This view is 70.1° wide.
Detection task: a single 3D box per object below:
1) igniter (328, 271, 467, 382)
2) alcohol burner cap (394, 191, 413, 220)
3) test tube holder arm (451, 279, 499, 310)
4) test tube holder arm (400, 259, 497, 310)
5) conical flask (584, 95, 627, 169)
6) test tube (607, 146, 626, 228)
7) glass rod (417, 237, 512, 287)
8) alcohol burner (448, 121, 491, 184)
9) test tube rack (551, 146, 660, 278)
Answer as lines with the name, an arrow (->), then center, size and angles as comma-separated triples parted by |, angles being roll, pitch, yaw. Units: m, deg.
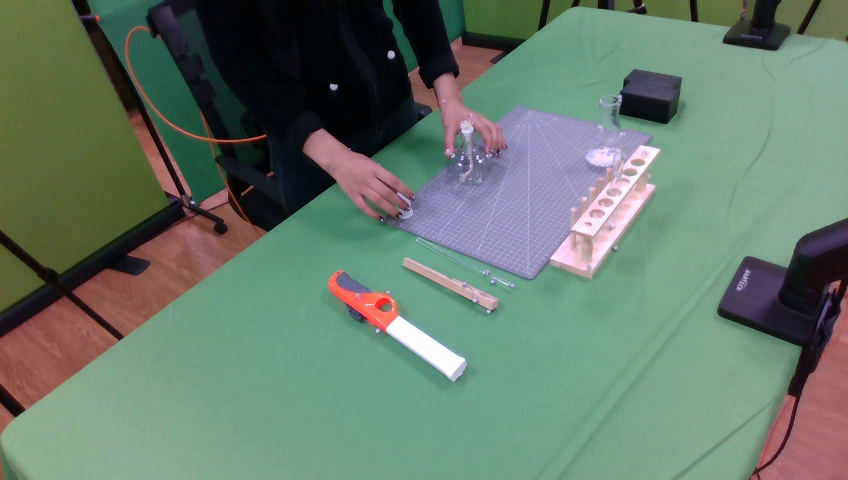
igniter -> -0.049, 0.114, 0.854 | 0.274, 0.025, 0.057 | 30, 63, 37
alcohol burner cap -> -0.037, -0.061, 1.044 | 0.034, 0.048, 0.033 | -4, 40, 4
test tube holder arm -> 0.071, 0.079, 0.882 | 0.087, 0.015, 0.010 | 23, 14, 34
test tube holder arm -> 0.033, 0.064, 0.902 | 0.177, 0.015, 0.013 | 23, 13, 32
conical flask -> 0.323, -0.192, 1.066 | 0.075, 0.122, 0.075 | -6, 40, 5
test tube -> 0.283, -0.074, 0.892 | 0.017, 0.151, 0.017 | -5, 44, 6
glass rod -> 0.059, 0.032, 0.945 | 0.198, 0.008, 0.008 | 26, 52, 38
alcohol burner -> 0.081, -0.160, 1.083 | 0.078, 0.119, 0.077 | -4, 40, 4
test tube rack -> 0.286, -0.053, 0.943 | 0.066, 0.085, 0.243 | 21, 49, 32
